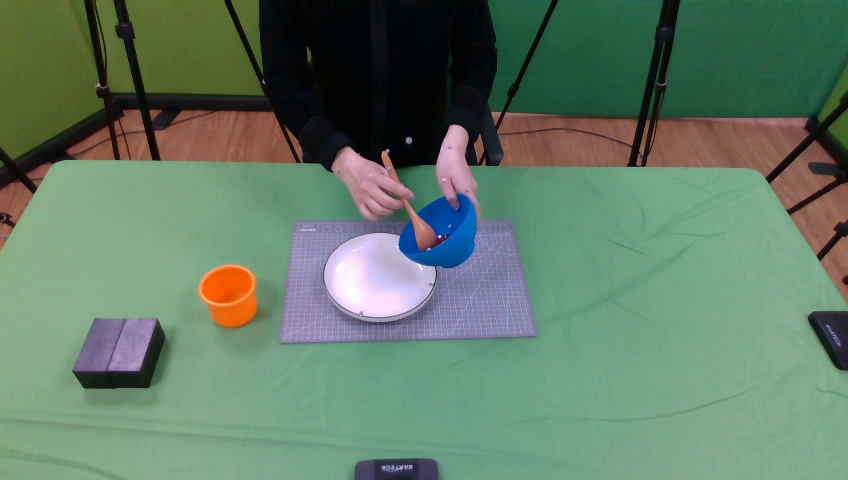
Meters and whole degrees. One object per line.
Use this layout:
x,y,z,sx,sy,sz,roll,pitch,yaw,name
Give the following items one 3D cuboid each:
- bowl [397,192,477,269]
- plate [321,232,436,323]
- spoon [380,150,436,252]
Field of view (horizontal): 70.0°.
0.037,-0.004,1.047,0.151,0.077,0.150,-29,29,18,bowl
-0.082,0.070,1.109,0.209,0.038,0.208,3,46,-3,plate
-0.030,-0.062,1.015,0.041,0.194,0.021,-35,15,-24,spoon
